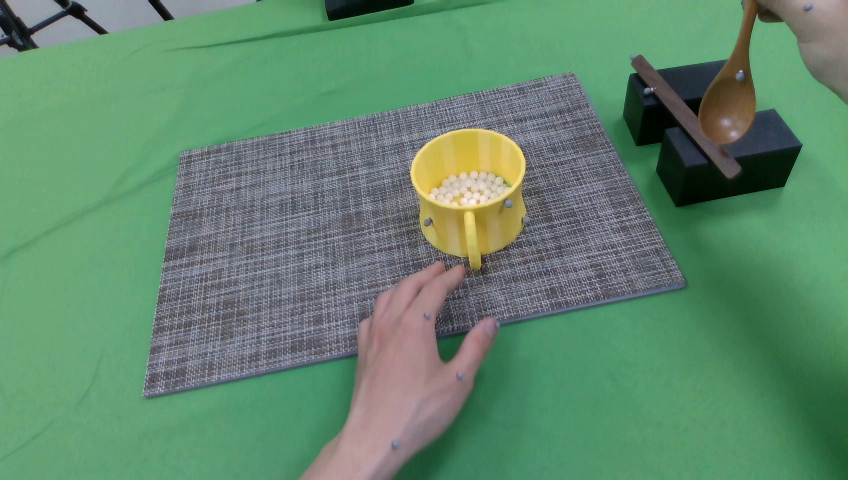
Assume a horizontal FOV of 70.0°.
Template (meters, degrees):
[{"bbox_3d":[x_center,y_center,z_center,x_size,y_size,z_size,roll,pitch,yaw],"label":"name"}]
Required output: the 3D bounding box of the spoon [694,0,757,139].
[{"bbox_3d":[0.232,-0.163,0.435,0.041,0.195,0.021,21,46,28],"label":"spoon"}]

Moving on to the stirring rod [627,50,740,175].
[{"bbox_3d":[0.228,-0.120,0.543,0.014,0.006,0.174,-39,48,23],"label":"stirring rod"}]

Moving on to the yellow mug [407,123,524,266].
[{"bbox_3d":[0.039,-0.036,0.531,0.100,0.064,0.129,-5,52,5],"label":"yellow mug"}]
